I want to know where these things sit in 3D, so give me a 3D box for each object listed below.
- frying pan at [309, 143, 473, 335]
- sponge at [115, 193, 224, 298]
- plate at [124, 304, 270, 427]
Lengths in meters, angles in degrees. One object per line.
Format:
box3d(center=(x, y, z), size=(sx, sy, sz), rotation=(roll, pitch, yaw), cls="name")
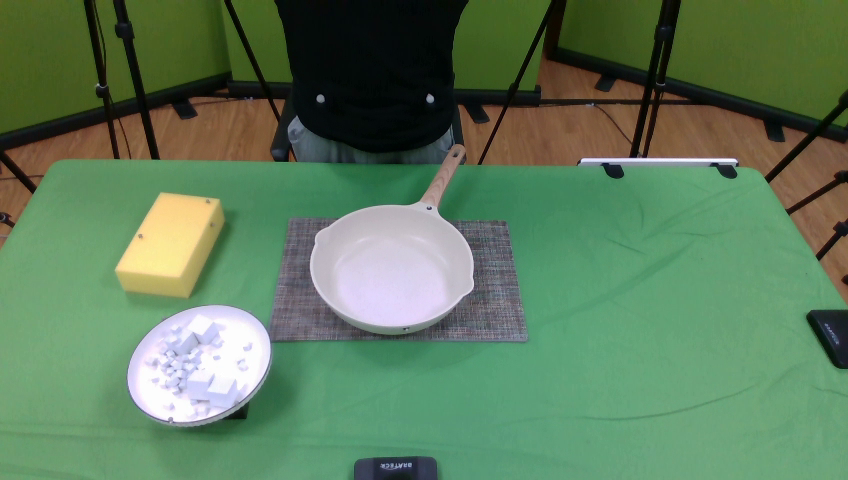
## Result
box3d(center=(-0.018, -0.022, 1.155), size=(0.306, 0.103, 0.486), rotation=(20, 57, 13), cls="frying pan")
box3d(center=(-0.467, 0.005, 1.129), size=(0.118, 0.061, 0.205), rotation=(6, 45, 1), cls="sponge")
box3d(center=(-0.336, 0.189, 0.913), size=(0.208, 0.039, 0.206), rotation=(1, 46, -1), cls="plate")
